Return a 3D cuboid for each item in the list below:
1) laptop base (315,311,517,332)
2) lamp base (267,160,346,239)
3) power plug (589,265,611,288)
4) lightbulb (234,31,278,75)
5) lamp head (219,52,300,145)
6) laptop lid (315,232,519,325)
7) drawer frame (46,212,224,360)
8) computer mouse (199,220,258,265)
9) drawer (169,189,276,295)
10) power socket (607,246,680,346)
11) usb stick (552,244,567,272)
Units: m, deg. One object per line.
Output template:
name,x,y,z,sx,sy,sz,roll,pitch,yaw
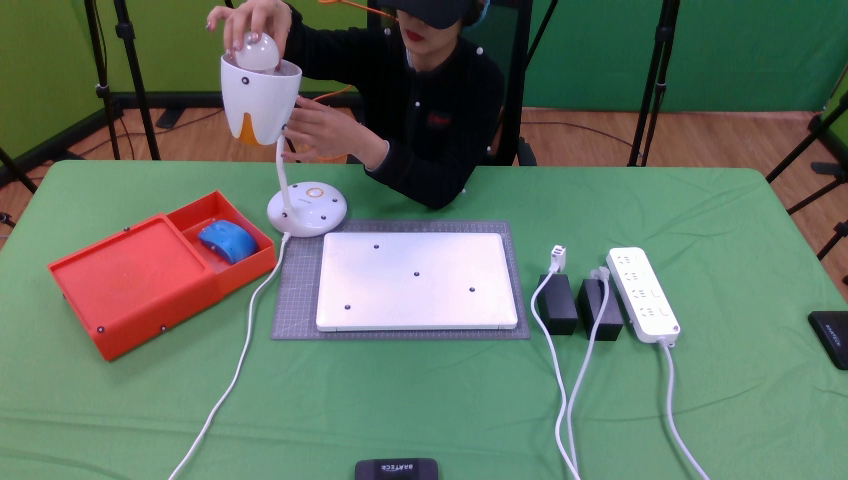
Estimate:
laptop base,-0.016,0.075,1.125,0.355,0.023,0.234,0,42,-4
lamp base,-0.241,-0.110,1.175,0.160,0.181,0.178,11,49,10
power plug,0.318,0.073,1.108,0.035,0.053,0.072,26,33,13
lightbulb,-0.238,-0.242,0.863,0.059,0.108,0.059,6,37,-4
lamp head,-0.244,-0.204,0.889,0.112,0.123,0.112,11,33,-7
laptop lid,-0.015,0.065,1.118,0.357,0.013,0.240,1,43,-3
drawer frame,-0.495,0.071,1.050,0.213,0.083,0.200,-32,56,-30
computer mouse,-0.374,-0.001,1.153,0.116,0.041,0.063,30,52,28
drawer,-0.414,0.022,1.109,0.212,0.073,0.193,-33,58,-30
power socket,0.403,0.096,1.123,0.072,0.033,0.225,-2,46,-5
usb stick,0.251,0.039,1.123,0.021,0.059,0.027,14,47,24
